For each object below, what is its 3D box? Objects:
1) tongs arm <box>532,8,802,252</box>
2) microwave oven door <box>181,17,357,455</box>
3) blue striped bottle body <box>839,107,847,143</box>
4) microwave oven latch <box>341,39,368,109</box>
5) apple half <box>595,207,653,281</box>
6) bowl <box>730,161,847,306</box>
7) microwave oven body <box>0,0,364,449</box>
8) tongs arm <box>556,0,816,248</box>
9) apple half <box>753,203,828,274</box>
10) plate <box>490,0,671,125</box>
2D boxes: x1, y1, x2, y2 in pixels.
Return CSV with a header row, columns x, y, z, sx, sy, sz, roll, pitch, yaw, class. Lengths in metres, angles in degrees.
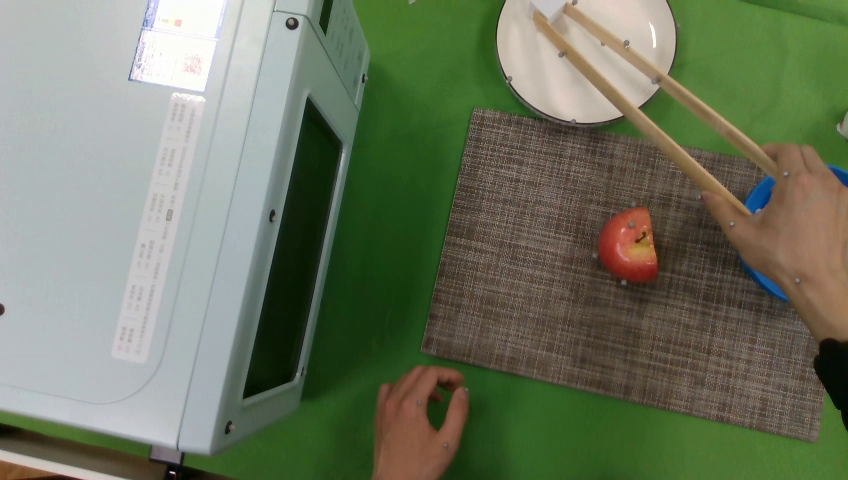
x,y,z,sx,sy,sz,roll,pitch,yaw,class
0.222,-0.128,0.618,0.028,0.028,0.383,-30,59,-5,tongs arm
-0.136,0.004,0.591,0.039,0.244,0.355,10,84,5,microwave oven door
0.509,-0.139,0.645,0.063,0.121,0.063,0,83,4,blue striped bottle body
-0.086,-0.197,0.711,0.030,0.029,0.079,11,85,4,microwave oven latch
0.216,0.006,0.668,0.053,0.075,0.080,-7,87,7,apple half
0.398,-0.003,0.655,0.151,0.077,0.151,0,84,4,bowl
-0.271,-0.062,0.611,0.326,0.261,0.440,10,85,4,microwave oven body
0.242,-0.141,0.618,0.051,0.027,0.381,-36,59,-4,tongs arm
0.398,-0.002,0.650,0.081,0.033,0.081,0,83,4,apple half
0.182,-0.233,0.718,0.207,0.039,0.207,0,84,3,plate
